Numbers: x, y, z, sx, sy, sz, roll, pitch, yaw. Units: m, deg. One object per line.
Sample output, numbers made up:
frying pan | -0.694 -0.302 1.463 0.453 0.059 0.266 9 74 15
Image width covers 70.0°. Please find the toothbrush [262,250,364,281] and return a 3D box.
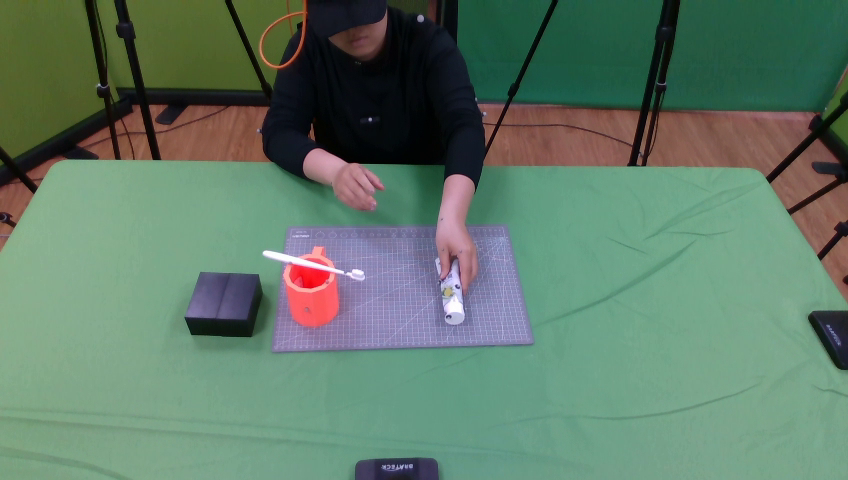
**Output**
toothbrush | -0.187 0.040 1.015 0.182 0.017 0.014 13 54 8

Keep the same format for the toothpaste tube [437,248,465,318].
toothpaste tube | 0.051 0.079 1.105 0.055 0.035 0.164 -27 37 17

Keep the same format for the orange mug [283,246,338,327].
orange mug | -0.193 0.074 1.056 0.083 0.101 0.125 5 50 1

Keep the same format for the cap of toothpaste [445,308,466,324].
cap of toothpaste | 0.053 0.130 1.047 0.037 0.037 0.011 1 41 -2
